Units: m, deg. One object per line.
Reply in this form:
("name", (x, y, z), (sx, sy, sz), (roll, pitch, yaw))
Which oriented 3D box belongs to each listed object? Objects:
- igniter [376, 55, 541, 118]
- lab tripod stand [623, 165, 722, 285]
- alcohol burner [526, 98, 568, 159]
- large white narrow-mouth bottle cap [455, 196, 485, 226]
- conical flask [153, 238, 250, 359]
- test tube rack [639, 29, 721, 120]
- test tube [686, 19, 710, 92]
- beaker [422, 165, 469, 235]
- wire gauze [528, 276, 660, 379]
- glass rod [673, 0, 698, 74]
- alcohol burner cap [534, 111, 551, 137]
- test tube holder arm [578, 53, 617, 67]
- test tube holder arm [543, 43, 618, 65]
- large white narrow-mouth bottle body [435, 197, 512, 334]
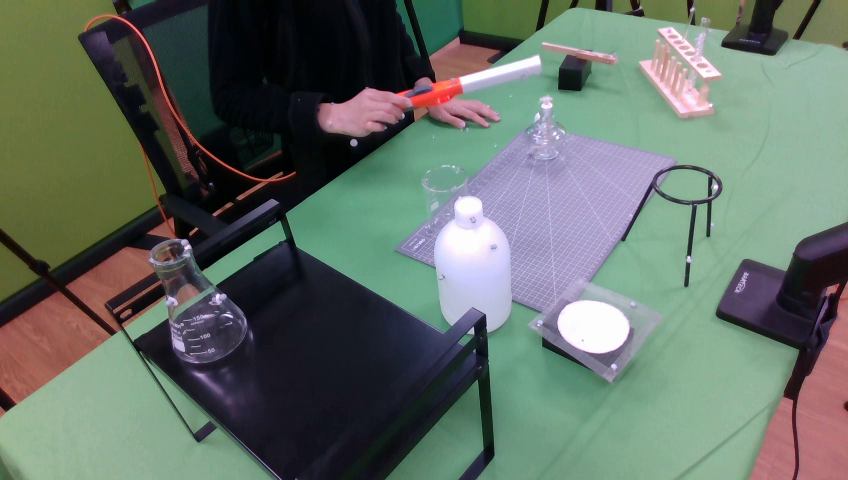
("igniter", (0.051, -0.245, 0.975), (0.276, 0.057, 0.025), (-14, 72, 8))
("lab tripod stand", (0.365, -0.030, 0.875), (0.148, 0.132, 0.147), (-6, 41, 6))
("alcohol burner", (0.227, -0.210, 1.118), (0.078, 0.119, 0.077), (-5, 43, 5))
("large white narrow-mouth bottle cap", (0.057, -0.037, 0.749), (0.038, 0.024, 0.037), (-4, 40, 4))
("conical flask", (-0.225, 0.055, 0.597), (0.075, 0.122, 0.075), (-5, 41, 4))
("test tube rack", (0.527, -0.351, 1.262), (0.067, 0.085, 0.241), (-8, 40, 1))
("test tube", (0.540, -0.360, 1.193), (0.017, 0.151, 0.017), (-4, 43, 4))
("beaker", (0.041, -0.063, 0.986), (0.073, 0.101, 0.084), (20, 47, 29))
("wire gauze", (0.213, 0.103, 0.763), (0.124, 0.011, 0.122), (30, 52, 35))
("glass rod", (0.538, -0.425, 1.244), (0.008, 0.200, 0.008), (0, 47, 1))
("alcohol burner cap", (0.235, -0.231, 1.197), (0.034, 0.048, 0.033), (-5, 38, 5))
("test tube holder arm", (0.376, -0.393, 1.314), (0.087, 0.015, 0.010), (26, 51, 32))
("test tube holder arm", (0.344, -0.413, 1.341), (0.177, 0.015, 0.013), (25, 50, 31))
("large white narrow-mouth bottle body", (0.066, 0.028, 0.805), (0.102, 0.195, 0.101), (-4, 40, 4))
